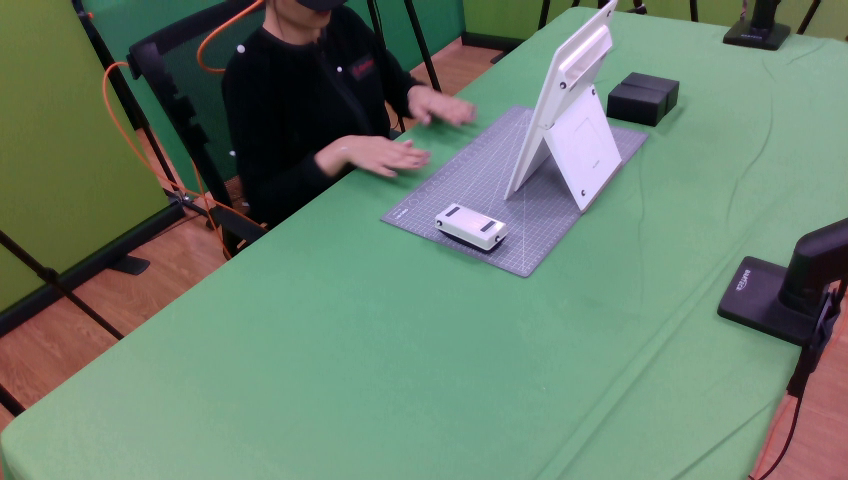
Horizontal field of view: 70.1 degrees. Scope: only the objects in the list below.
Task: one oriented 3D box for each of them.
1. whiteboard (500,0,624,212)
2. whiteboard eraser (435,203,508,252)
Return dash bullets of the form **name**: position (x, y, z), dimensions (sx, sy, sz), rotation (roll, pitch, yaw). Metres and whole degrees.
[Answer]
- **whiteboard**: position (0.271, -0.189, 0.977), dimensions (0.143, 0.306, 0.218), rotation (34, 54, 16)
- **whiteboard eraser**: position (0.075, -0.019, 0.970), dimensions (0.112, 0.042, 0.056), rotation (25, 51, 34)
